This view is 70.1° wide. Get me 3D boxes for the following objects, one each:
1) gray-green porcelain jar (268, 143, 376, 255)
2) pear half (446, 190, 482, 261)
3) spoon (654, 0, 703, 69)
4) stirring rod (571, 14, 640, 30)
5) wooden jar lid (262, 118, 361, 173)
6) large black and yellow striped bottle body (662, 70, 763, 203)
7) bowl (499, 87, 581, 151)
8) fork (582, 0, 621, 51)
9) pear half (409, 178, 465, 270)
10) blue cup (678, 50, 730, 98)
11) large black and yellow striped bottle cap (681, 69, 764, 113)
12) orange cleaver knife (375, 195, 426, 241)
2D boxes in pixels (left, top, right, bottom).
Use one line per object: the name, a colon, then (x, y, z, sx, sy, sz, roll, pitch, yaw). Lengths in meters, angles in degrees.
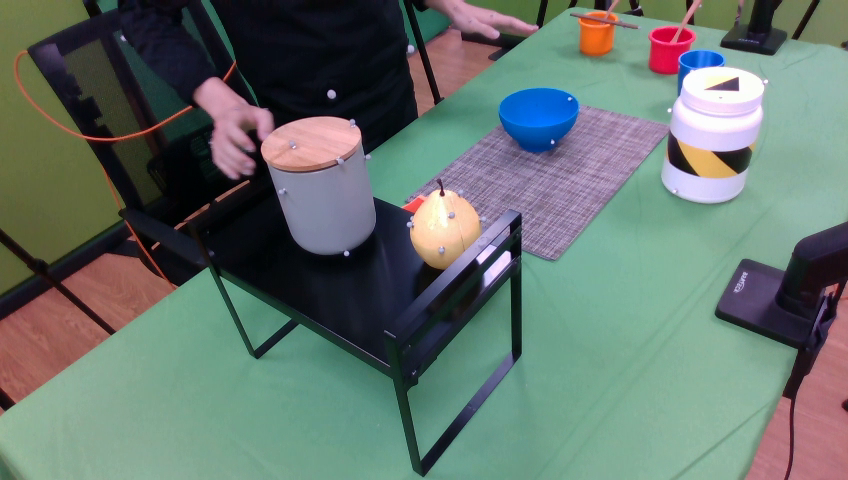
gray-green porcelain jar: (-0.114, -0.055, 0.704, 0.106, 0.127, 0.105, -4, 40, 4)
pear half: (0.046, -0.020, 0.665, 0.031, 0.088, 0.070, -17, 38, -8)
spoon: (0.569, -0.462, 1.335, 0.041, 0.022, 0.193, 34, 99, 37)
stirring rod: (0.419, -0.508, 1.404, 0.174, 0.006, 0.014, 28, 55, 35)
wooden jar lid: (-0.122, -0.101, 0.663, 0.108, 0.021, 0.108, -3, 39, 3)
large black and yellow striped bottle body: (0.464, -0.166, 0.976, 0.131, 0.185, 0.130, -5, 41, 5)
bowl: (0.220, -0.223, 1.156, 0.151, 0.077, 0.150, -4, 40, 4)
fork: (0.446, -0.539, 1.438, 0.207, 0.019, 0.028, -57, 36, 12)
pear half: (0.010, -0.019, 0.654, 0.056, 0.110, 0.076, -17, 37, -9)
blue cup: (0.542, -0.310, 1.194, 0.092, 0.101, 0.092, -6, 41, 6)
large black and yellow striped bottle cap: (0.453, -0.229, 0.921, 0.115, 0.019, 0.114, -4, 39, 4)
orange cleaver knife: (-0.037, -0.029, 0.973, 0.210, 0.077, 0.012, -8, 33, 50)
